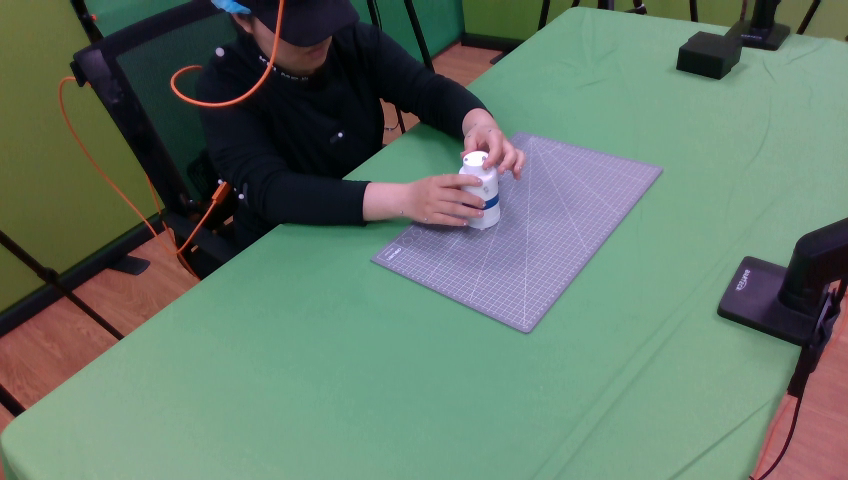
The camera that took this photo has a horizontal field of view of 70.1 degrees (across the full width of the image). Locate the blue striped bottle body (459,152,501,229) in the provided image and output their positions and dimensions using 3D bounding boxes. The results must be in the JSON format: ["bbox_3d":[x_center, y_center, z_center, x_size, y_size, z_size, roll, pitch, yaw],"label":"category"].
[{"bbox_3d":[0.091,-0.083,0.983,0.063,0.121,0.063,-5,40,5],"label":"blue striped bottle body"}]

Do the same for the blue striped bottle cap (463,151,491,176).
[{"bbox_3d":[0.084,-0.121,0.950,0.044,0.021,0.044,-4,40,4],"label":"blue striped bottle cap"}]
